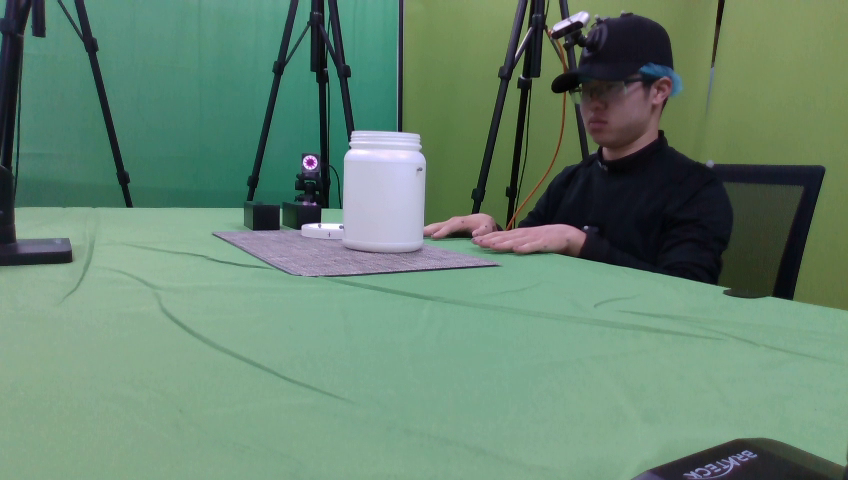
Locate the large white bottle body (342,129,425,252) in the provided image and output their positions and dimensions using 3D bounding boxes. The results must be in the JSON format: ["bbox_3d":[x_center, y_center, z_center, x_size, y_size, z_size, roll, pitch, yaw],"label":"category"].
[{"bbox_3d":[-0.064,-0.080,0.958,0.131,0.184,0.130,2,8,0],"label":"large white bottle body"}]

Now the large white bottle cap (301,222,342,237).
[{"bbox_3d":[-0.167,-0.019,1.103,0.115,0.018,0.115,2,7,0],"label":"large white bottle cap"}]
